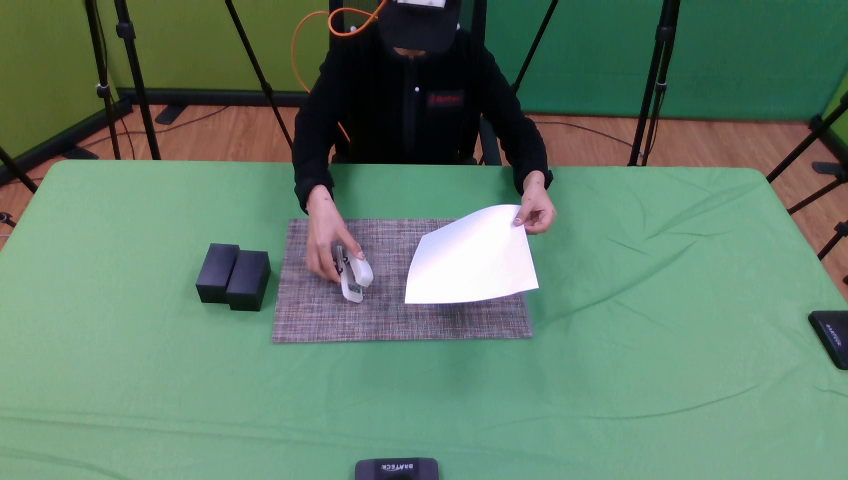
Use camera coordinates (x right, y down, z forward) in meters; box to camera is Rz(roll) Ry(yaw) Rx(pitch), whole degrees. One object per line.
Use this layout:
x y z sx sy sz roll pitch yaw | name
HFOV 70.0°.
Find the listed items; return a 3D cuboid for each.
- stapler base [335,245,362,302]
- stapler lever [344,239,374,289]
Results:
-0.134 0.056 1.116 0.041 0.024 0.129 27 31 -38 | stapler base
-0.119 0.039 1.106 0.027 0.040 0.117 27 31 -38 | stapler lever
